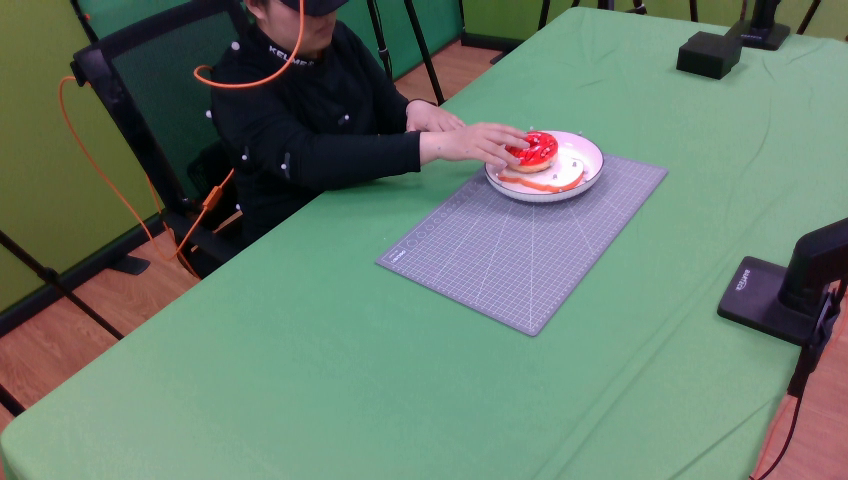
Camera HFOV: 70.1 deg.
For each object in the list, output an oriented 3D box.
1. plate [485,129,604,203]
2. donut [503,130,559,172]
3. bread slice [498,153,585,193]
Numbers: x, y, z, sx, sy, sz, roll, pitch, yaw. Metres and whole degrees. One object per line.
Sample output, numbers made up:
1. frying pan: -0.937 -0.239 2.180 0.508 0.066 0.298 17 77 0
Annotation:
1. plate: 0.213 -0.129 1.079 0.209 0.038 0.208 -5 40 5
2. donut: 0.191 -0.159 1.076 0.099 0.048 0.098 -8 40 7
3. bread slice: 0.216 -0.125 1.076 0.133 0.018 0.107 16 47 28
